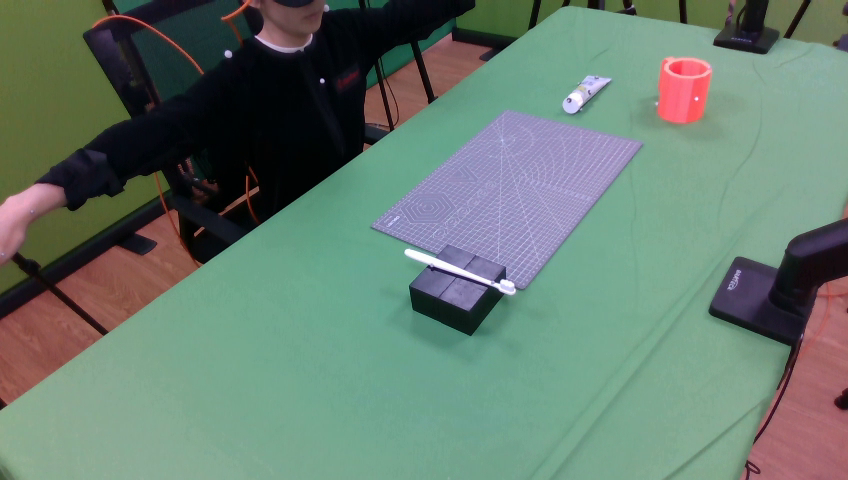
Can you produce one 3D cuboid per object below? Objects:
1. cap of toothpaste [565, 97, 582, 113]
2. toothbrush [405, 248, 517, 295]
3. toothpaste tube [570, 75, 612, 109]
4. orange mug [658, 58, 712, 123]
[{"bbox_3d":[0.306,-0.277,1.239,0.037,0.037,0.011,17,43,26],"label":"cap of toothpaste"},{"bbox_3d":[0.048,0.041,0.850,0.180,0.017,0.014,19,52,28],"label":"toothbrush"},{"bbox_3d":[0.351,-0.319,1.290,0.054,0.034,0.165,22,44,24],"label":"toothpaste tube"},{"bbox_3d":[0.504,-0.304,1.193,0.083,0.101,0.125,-13,45,-5],"label":"orange mug"}]
